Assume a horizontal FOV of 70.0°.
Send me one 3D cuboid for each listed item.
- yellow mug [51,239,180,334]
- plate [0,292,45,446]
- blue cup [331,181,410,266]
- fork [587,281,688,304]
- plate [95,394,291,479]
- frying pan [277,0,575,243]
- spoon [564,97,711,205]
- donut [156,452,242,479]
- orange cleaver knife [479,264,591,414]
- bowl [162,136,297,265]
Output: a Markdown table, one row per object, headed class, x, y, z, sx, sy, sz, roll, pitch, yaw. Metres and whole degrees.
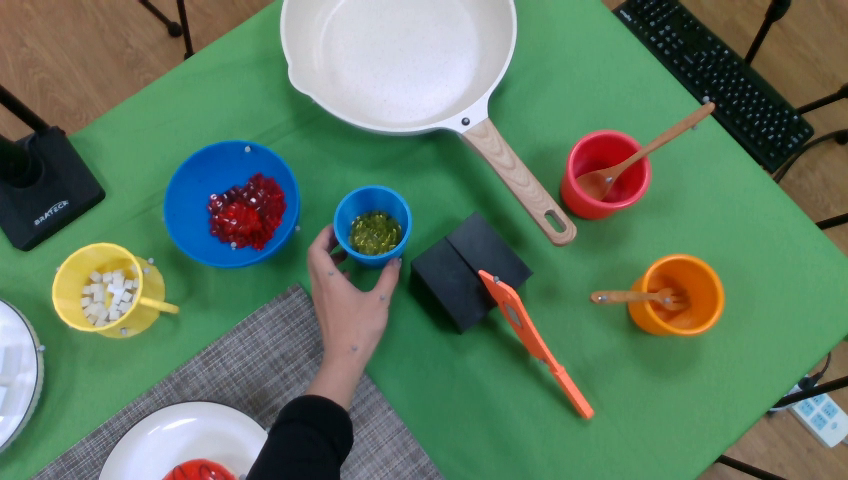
| class | x | y | z | sx | sy | sz | roll | pitch | yaw |
| --- | --- | --- | --- | --- | --- | --- | --- | --- | --- |
| yellow mug | -0.345 | 0.059 | 0.696 | 0.131 | 0.064 | 0.099 | 14 | 77 | 1 |
| plate | -0.530 | 0.153 | 0.683 | 0.208 | 0.039 | 0.206 | 0 | 76 | -1 |
| blue cup | -0.060 | -0.011 | 0.701 | 0.093 | 0.100 | 0.092 | 1 | 75 | -3 |
| fork | 0.240 | 0.057 | 0.667 | 0.209 | 0.018 | 0.028 | 6 | 70 | -45 |
| plate | -0.247 | 0.273 | 0.656 | 0.209 | 0.038 | 0.208 | 0 | 77 | -1 |
| frying pan | 0.022 | -0.187 | 0.744 | 0.307 | 0.103 | 0.484 | -33 | 71 | -8 |
| spoon | 0.246 | -0.102 | 0.709 | 0.194 | 0.022 | 0.041 | -37 | 74 | 35 |
| donut | -0.240 | 0.277 | 0.644 | 0.099 | 0.048 | 0.098 | 0 | 80 | -2 |
| orange cleaver knife | 0.125 | 0.112 | 0.686 | 0.012 | 0.076 | 0.213 | -38 | 109 | -10 |
| bowl | -0.219 | -0.038 | 0.716 | 0.151 | 0.077 | 0.150 | 0 | 77 | -2 |
